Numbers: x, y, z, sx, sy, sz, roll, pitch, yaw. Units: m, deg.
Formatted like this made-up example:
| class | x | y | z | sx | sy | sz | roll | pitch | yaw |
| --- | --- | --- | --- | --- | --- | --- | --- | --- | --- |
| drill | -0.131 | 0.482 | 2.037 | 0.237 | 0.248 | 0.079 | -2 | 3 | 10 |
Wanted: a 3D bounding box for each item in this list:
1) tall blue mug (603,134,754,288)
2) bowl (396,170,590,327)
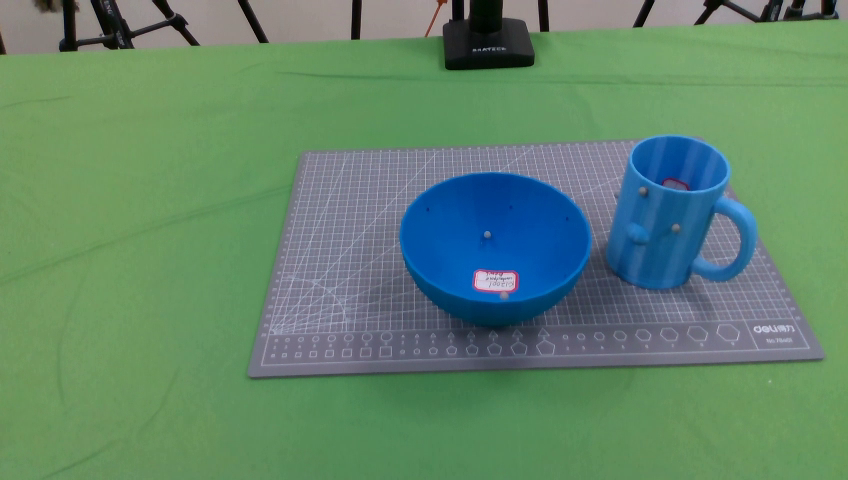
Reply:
| class | x | y | z | sx | sy | sz | roll | pitch | yaw |
| --- | --- | --- | --- | --- | --- | --- | --- | --- | --- |
| tall blue mug | 0.213 | -0.020 | 0.506 | 0.107 | 0.109 | 0.077 | 12 | 46 | 15 |
| bowl | 0.054 | 0.018 | 0.498 | 0.151 | 0.077 | 0.150 | -1 | 44 | 2 |
